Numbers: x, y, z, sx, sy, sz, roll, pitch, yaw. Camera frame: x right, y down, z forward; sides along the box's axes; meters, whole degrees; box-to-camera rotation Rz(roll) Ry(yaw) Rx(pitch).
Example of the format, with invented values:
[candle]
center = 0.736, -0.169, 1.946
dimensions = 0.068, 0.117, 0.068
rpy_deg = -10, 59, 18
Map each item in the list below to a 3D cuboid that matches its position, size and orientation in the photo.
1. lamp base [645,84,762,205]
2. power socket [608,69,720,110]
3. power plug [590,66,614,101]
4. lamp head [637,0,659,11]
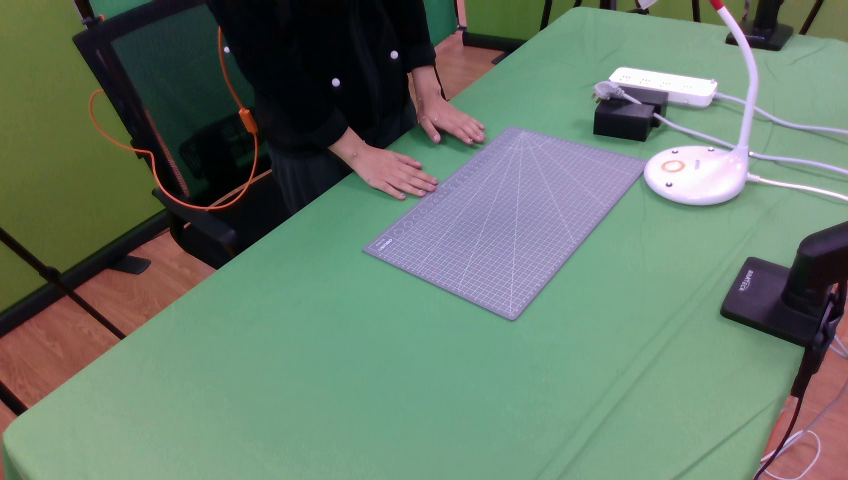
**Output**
[lamp base]
center = 0.461, -0.170, 0.975
dimensions = 0.179, 0.181, 0.160
rpy_deg = 3, 41, 11
[power socket]
center = 0.492, -0.315, 1.256
dimensions = 0.225, 0.033, 0.072
rpy_deg = 20, 49, 30
[power plug]
center = 0.354, -0.304, 1.198
dimensions = 0.035, 0.052, 0.072
rpy_deg = 42, 42, -9
[lamp head]
center = 0.330, -0.391, 0.827
dimensions = 0.122, 0.113, 0.112
rpy_deg = -21, 35, 25
